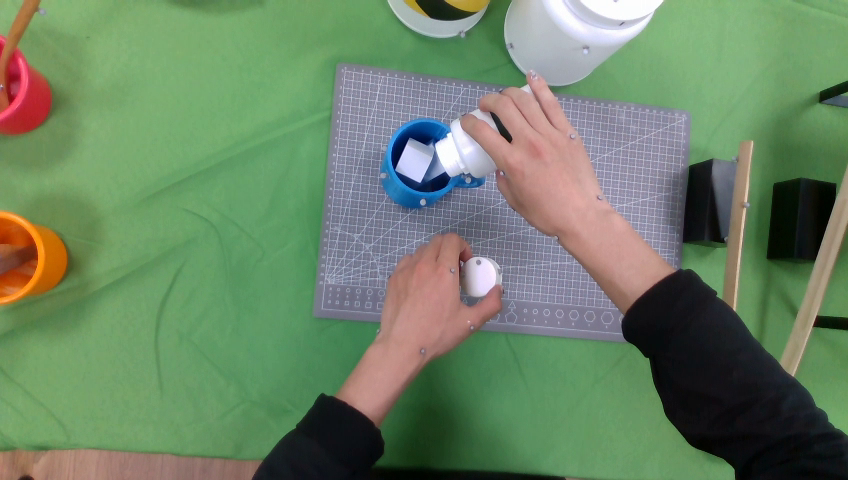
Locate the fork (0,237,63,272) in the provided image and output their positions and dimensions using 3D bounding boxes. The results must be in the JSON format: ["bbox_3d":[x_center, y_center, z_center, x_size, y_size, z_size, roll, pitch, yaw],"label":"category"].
[{"bbox_3d":[-0.455,-0.009,0.579,0.209,0.018,0.028,30,79,-50],"label":"fork"}]

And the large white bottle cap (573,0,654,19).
[{"bbox_3d":[0.182,-0.271,0.582,0.115,0.018,0.114,0,88,-9],"label":"large white bottle cap"}]

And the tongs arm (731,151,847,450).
[{"bbox_3d":[0.458,0.078,0.740,0.028,0.027,0.388,14,98,-16],"label":"tongs arm"}]

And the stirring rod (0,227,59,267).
[{"bbox_3d":[-0.436,0.031,0.586,0.014,0.006,0.175,52,40,-6],"label":"stirring rod"}]

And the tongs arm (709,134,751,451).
[{"bbox_3d":[0.377,0.069,0.726,0.051,0.026,0.385,1,100,-11],"label":"tongs arm"}]

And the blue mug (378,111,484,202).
[{"bbox_3d":[0.009,-0.085,0.672,0.117,0.106,0.082,14,85,-8],"label":"blue mug"}]

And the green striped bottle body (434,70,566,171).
[{"bbox_3d":[0.071,-0.110,0.586,0.119,0.063,0.063,-24,91,13],"label":"green striped bottle body"}]

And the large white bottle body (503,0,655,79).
[{"bbox_3d":[0.171,-0.266,0.665,0.131,0.184,0.130,0,88,-8],"label":"large white bottle body"}]

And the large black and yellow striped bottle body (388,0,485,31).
[{"bbox_3d":[0.025,-0.318,0.644,0.131,0.184,0.130,0,87,-8],"label":"large black and yellow striped bottle body"}]

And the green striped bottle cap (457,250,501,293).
[{"bbox_3d":[0.058,0.033,0.635,0.044,0.020,0.044,-7,74,25],"label":"green striped bottle cap"}]

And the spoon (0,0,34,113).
[{"bbox_3d":[-0.410,-0.188,0.594,0.194,0.021,0.041,-38,91,35],"label":"spoon"}]
